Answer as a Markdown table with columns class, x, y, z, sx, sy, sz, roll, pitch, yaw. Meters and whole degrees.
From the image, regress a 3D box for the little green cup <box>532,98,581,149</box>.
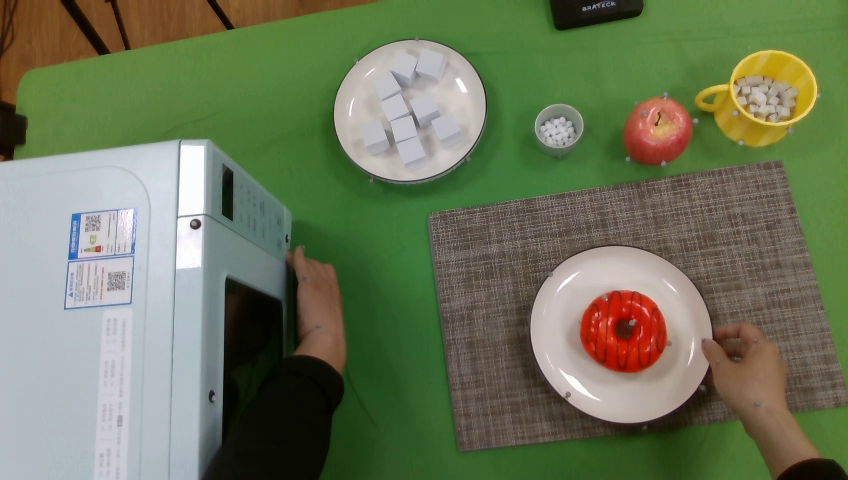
| class | x | y | z | sx | sy | sz | roll | pitch | yaw |
| --- | --- | --- | --- | --- | --- | --- | --- | --- | --- |
| little green cup | 0.170 | -0.148 | 0.786 | 0.061 | 0.039 | 0.061 | -2 | 76 | 7 |

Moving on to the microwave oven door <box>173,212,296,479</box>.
| class | x | y | z | sx | sy | sz | roll | pitch | yaw |
| --- | --- | --- | --- | --- | --- | --- | --- | --- | --- |
| microwave oven door | -0.190 | 0.172 | 0.631 | 0.039 | 0.245 | 0.354 | -6 | 76 | 6 |

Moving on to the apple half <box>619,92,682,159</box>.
| class | x | y | z | sx | sy | sz | roll | pitch | yaw |
| --- | --- | --- | --- | --- | --- | --- | --- | --- | --- |
| apple half | 0.273 | -0.133 | 0.753 | 0.053 | 0.075 | 0.080 | -35 | 79 | 3 |

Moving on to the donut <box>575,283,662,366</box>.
| class | x | y | z | sx | sy | sz | roll | pitch | yaw |
| --- | --- | --- | --- | --- | --- | --- | --- | --- | --- |
| donut | 0.226 | 0.098 | 0.707 | 0.099 | 0.048 | 0.098 | -1 | 79 | 7 |

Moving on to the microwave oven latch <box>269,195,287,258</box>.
| class | x | y | z | sx | sy | sz | roll | pitch | yaw |
| --- | --- | --- | --- | --- | --- | --- | --- | --- | --- |
| microwave oven latch | -0.193 | -0.017 | 0.780 | 0.030 | 0.029 | 0.079 | 0 | 78 | 6 |

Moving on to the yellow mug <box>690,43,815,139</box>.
| class | x | y | z | sx | sy | sz | roll | pitch | yaw |
| --- | --- | --- | --- | --- | --- | --- | --- | --- | --- |
| yellow mug | 0.400 | -0.183 | 0.752 | 0.130 | 0.064 | 0.099 | 2 | 77 | 8 |

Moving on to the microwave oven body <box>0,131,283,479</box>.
| class | x | y | z | sx | sy | sz | roll | pitch | yaw |
| --- | --- | --- | --- | --- | --- | --- | --- | --- | --- |
| microwave oven body | -0.337 | 0.146 | 0.660 | 0.326 | 0.261 | 0.439 | -6 | 77 | 5 |

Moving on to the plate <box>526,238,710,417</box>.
| class | x | y | z | sx | sy | sz | roll | pitch | yaw |
| --- | --- | --- | --- | --- | --- | --- | --- | --- | --- |
| plate | 0.225 | 0.101 | 0.717 | 0.209 | 0.038 | 0.208 | -2 | 77 | 7 |

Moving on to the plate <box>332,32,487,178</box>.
| class | x | y | z | sx | sy | sz | roll | pitch | yaw |
| --- | --- | --- | --- | --- | --- | --- | --- | --- | --- |
| plate | -0.019 | -0.179 | 0.816 | 0.207 | 0.039 | 0.206 | -2 | 77 | 7 |

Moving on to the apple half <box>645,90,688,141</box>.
| class | x | y | z | sx | sy | sz | roll | pitch | yaw |
| --- | --- | --- | --- | --- | --- | --- | --- | --- | --- |
| apple half | 0.305 | -0.156 | 0.753 | 0.033 | 0.082 | 0.081 | -34 | 75 | 3 |
